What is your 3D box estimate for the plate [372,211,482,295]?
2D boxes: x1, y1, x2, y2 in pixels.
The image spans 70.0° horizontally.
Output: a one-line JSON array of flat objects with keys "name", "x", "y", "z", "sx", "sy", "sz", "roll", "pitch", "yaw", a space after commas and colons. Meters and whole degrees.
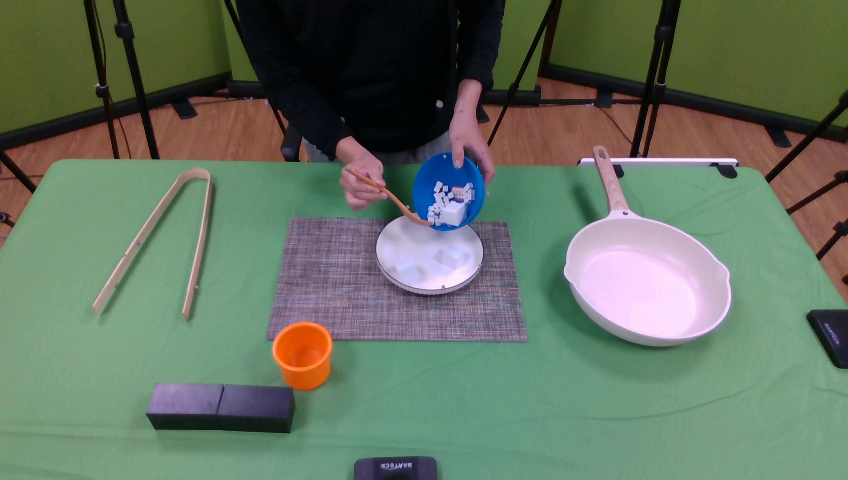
[{"name": "plate", "x": 0.005, "y": 0.028, "z": 1.155, "sx": 0.208, "sy": 0.039, "sz": 0.206, "roll": 2, "pitch": 46, "yaw": -2}]

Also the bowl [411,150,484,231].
[{"name": "bowl", "x": 0.057, "y": -0.091, "z": 1.152, "sx": 0.150, "sy": 0.151, "sz": 0.077, "roll": 38, "pitch": 20, "yaw": 28}]

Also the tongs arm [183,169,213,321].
[{"name": "tongs arm", "x": -0.436, "y": -0.005, "z": 1.166, "sx": 0.028, "sy": 0.028, "sz": 0.385, "roll": -5, "pitch": 46, "yaw": -6}]

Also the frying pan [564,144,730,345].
[{"name": "frying pan", "x": 0.396, "y": -0.008, "z": 1.179, "sx": 0.307, "sy": 0.103, "sz": 0.484, "roll": 0, "pitch": 55, "yaw": -5}]

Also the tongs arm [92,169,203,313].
[{"name": "tongs arm", "x": -0.517, "y": -0.012, "z": 1.160, "sx": 0.051, "sy": 0.026, "sz": 0.382, "roll": 7, "pitch": 45, "yaw": 1}]

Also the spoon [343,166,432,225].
[{"name": "spoon", "x": -0.063, "y": -0.078, "z": 1.076, "sx": 0.021, "sy": 0.194, "sz": 0.041, "roll": -55, "pitch": 25, "yaw": -3}]
